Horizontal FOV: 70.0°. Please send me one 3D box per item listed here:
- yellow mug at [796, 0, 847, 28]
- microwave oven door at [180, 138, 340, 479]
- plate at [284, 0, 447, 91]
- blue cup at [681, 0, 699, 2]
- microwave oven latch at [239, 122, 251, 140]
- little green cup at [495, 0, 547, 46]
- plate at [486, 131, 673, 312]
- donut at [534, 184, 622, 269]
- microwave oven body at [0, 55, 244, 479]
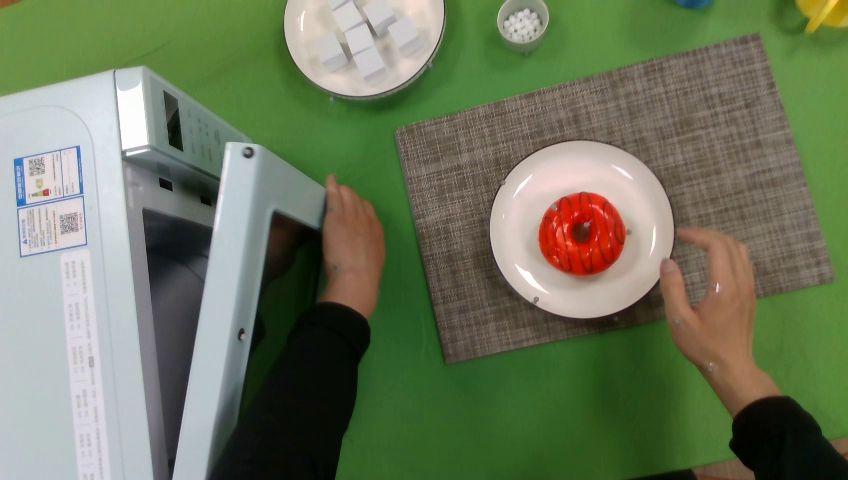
[{"bbox_3d":[0.470,-0.296,0.680,0.099,0.064,0.131,35,91,10],"label":"yellow mug"},{"bbox_3d":[-0.159,0.097,0.622,0.039,0.245,0.355,7,85,9],"label":"microwave oven door"},{"bbox_3d":[-0.073,-0.286,0.770,0.207,0.039,0.207,-1,84,8],"label":"plate"},{"bbox_3d":[0.317,-0.322,0.687,0.092,0.100,0.092,-1,86,7],"label":"blue cup"},{"bbox_3d":[-0.229,-0.105,0.755,0.030,0.029,0.079,-8,84,7],"label":"microwave oven latch"},{"bbox_3d":[0.119,-0.270,0.741,0.061,0.039,0.061,-1,84,8],"label":"little green cup"},{"bbox_3d":[0.177,-0.021,0.704,0.209,0.038,0.208,-1,84,8],"label":"plate"},{"bbox_3d":[0.175,-0.015,0.693,0.099,0.048,0.099,0,86,6],"label":"donut"},{"bbox_3d":[-0.359,0.084,0.656,0.326,0.261,0.440,-10,83,6],"label":"microwave oven body"}]
